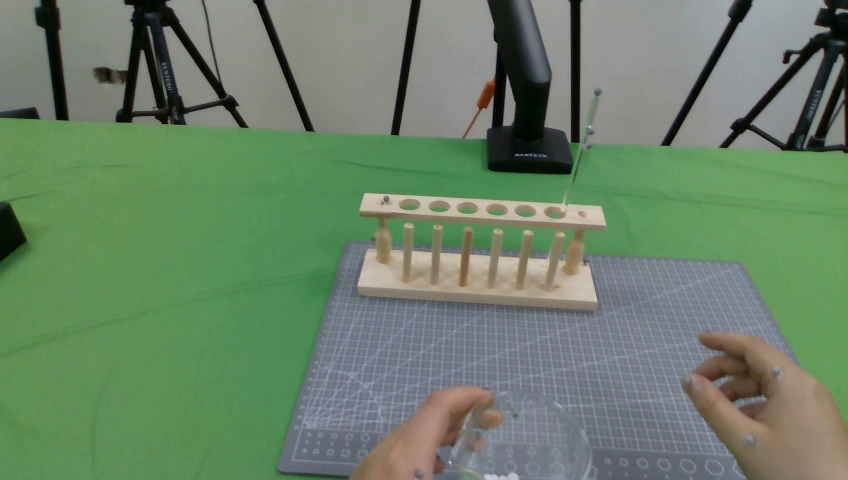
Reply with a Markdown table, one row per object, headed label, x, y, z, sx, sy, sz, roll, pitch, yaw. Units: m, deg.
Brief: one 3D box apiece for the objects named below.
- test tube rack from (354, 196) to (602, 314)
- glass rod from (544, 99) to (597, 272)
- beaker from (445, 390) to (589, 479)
| label | x | y | z | sx | sy | sz | roll | pitch | yaw |
| --- | --- | --- | --- | --- | --- | --- | --- | --- | --- |
| test tube rack | 0.052 | 0.015 | 0.618 | 0.242 | 0.086 | 0.066 | 3 | 36 | 2 |
| glass rod | 0.139 | -0.042 | 0.586 | 0.008 | 0.201 | 0.008 | 4 | 37 | -3 |
| beaker | 0.051 | 0.155 | 0.376 | 0.084 | 0.101 | 0.073 | -8 | 38 | -14 |
